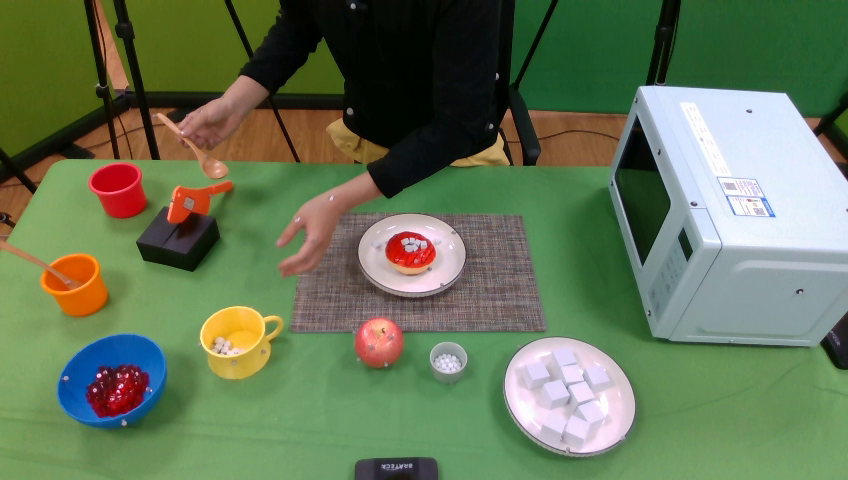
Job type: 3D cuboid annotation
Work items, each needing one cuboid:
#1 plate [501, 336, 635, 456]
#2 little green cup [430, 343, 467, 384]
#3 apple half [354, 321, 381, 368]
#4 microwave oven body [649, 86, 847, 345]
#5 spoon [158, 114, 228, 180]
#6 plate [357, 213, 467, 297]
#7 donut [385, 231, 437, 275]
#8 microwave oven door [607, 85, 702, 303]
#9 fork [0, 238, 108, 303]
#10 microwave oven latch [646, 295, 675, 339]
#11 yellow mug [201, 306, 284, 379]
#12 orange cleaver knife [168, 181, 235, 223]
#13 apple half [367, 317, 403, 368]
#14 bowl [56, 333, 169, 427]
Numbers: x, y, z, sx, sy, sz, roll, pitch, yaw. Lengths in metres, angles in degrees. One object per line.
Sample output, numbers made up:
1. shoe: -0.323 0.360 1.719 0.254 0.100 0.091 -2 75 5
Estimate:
1. plate: 0.225 0.249 0.963 0.208 0.039 0.206 2 46 -2
2. little green cup: 0.039 0.203 0.993 0.061 0.039 0.061 2 46 -2
3. apple half: -0.097 0.176 0.985 0.033 0.081 0.080 -12 48 -20
4. microwave oven body: 0.568 -0.053 1.118 0.326 0.261 0.439 2 45 -1
5. spoon: -0.444 -0.181 1.157 0.193 0.022 0.041 45 62 9
6. plate: -0.023 0.032 1.149 0.209 0.038 0.208 2 46 -2
7. donut: -0.024 0.024 1.141 0.099 0.048 0.098 4 44 -3
8. microwave oven door: 0.423 -0.094 1.140 0.039 0.245 0.353 2 46 -1
9. fork: -0.633 0.048 1.017 0.208 0.018 0.028 40 41 -27
10. microwave oven latch: 0.412 0.134 1.061 0.030 0.029 0.078 4 45 1
11. yellow mug: -0.291 0.160 0.993 0.131 0.064 0.099 -23 51 -25
12. orange cleaver knife: -0.436 -0.078 1.196 0.012 0.077 0.211 16 15 10
13. apple half: -0.061 0.167 0.998 0.053 0.075 0.080 -11 44 -20
14. bowl: -0.456 0.223 0.911 0.151 0.077 0.150 3 46 -2
